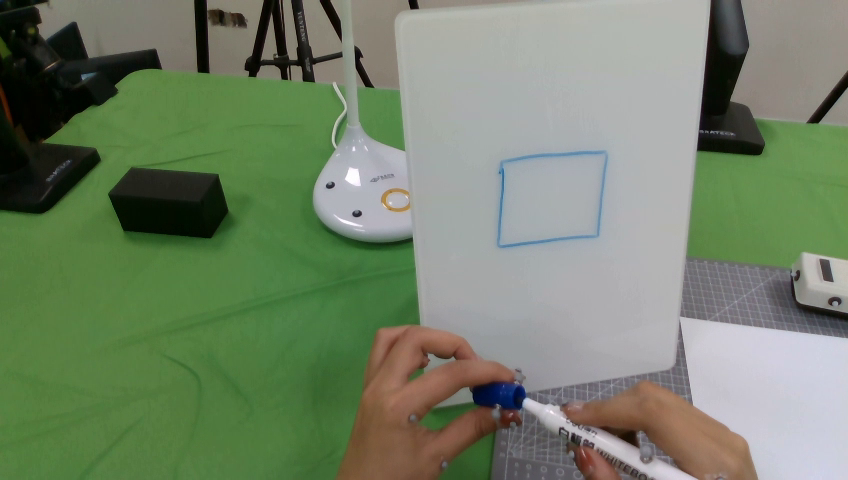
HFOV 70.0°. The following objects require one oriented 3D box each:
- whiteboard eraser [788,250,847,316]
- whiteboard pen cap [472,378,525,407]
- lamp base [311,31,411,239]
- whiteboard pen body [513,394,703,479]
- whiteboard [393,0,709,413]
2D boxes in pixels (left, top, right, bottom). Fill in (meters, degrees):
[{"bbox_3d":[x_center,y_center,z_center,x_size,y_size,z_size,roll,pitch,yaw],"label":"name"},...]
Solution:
[{"bbox_3d":[0.403,0.047,0.562,0.112,0.042,0.055,11,41,13],"label":"whiteboard eraser"},{"bbox_3d":[0.047,0.096,0.382,0.033,0.018,0.018,-8,28,44],"label":"whiteboard pen cap"},{"bbox_3d":[-0.057,-0.120,0.652,0.161,0.182,0.177,-27,45,-27],"label":"lamp base"},{"bbox_3d":[0.104,0.114,0.324,0.139,0.017,0.017,21,44,40],"label":"whiteboard pen body"},{"bbox_3d":[0.087,-0.040,0.509,0.217,0.307,0.142,-7,22,-7],"label":"whiteboard"}]
